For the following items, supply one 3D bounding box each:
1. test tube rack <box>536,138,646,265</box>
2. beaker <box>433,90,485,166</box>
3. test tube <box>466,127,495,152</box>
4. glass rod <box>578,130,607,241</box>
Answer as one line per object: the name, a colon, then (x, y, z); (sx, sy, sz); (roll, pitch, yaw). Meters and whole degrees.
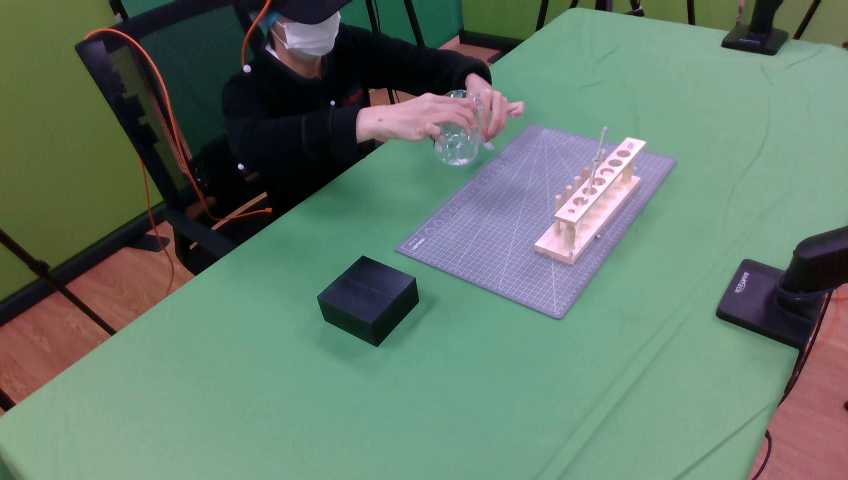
test tube rack: (0.268, -0.071, 0.964); (0.066, 0.085, 0.243); (23, 49, 32)
beaker: (0.055, -0.171, 0.947); (0.073, 0.084, 0.100); (-5, 51, 22)
test tube: (0.102, -0.176, 1.071); (0.017, 0.017, 0.151); (10, 0, 20)
glass rod: (0.240, -0.071, 0.866); (0.008, 0.200, 0.008); (0, 44, 1)
